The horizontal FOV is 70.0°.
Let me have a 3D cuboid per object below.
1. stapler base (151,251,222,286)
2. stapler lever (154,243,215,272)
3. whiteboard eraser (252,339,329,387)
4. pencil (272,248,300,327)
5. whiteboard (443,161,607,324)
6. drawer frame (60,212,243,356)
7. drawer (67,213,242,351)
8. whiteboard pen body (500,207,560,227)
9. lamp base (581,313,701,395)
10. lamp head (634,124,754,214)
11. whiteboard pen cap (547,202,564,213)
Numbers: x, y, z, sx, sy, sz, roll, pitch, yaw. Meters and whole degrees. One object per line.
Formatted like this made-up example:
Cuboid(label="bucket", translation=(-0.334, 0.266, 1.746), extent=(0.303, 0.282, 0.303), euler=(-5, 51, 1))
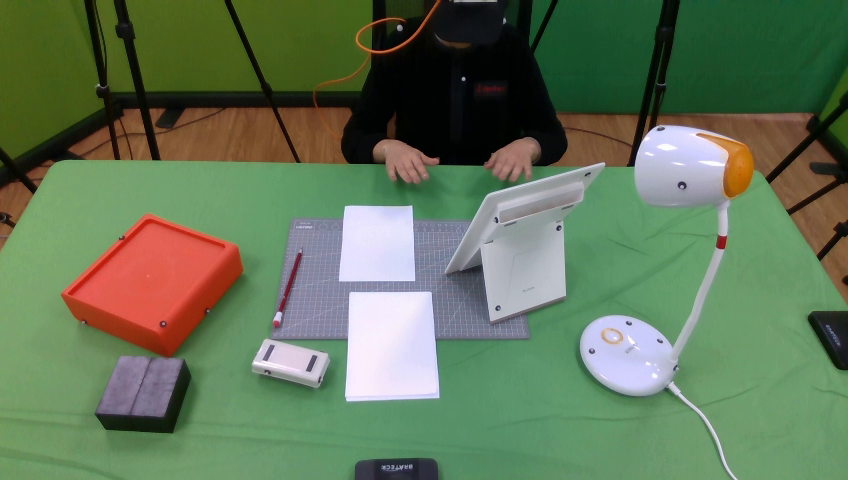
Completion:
Cuboid(label="stapler base", translation=(-0.432, 0.047, 1.103), extent=(0.130, 0.024, 0.041), euler=(17, 34, 13))
Cuboid(label="stapler lever", translation=(-0.430, 0.025, 1.088), extent=(0.118, 0.040, 0.027), euler=(16, 34, 13))
Cuboid(label="whiteboard eraser", translation=(-0.215, 0.199, 0.976), extent=(0.112, 0.042, 0.055), euler=(12, 45, 7))
Cuboid(label="pencil", translation=(-0.248, 0.081, 1.104), extent=(0.012, 0.012, 0.193), euler=(6, 44, 1))
Cuboid(label="whiteboard", translation=(0.185, 0.026, 1.028), extent=(0.217, 0.306, 0.143), euler=(-15, 68, -18))
Cuboid(label="drawer frame", translation=(-0.462, 0.070, 1.053), extent=(0.201, 0.083, 0.213), euler=(18, 48, 12))
Cuboid(label="drawer", translation=(-0.461, 0.068, 1.056), extent=(0.194, 0.073, 0.211), euler=(19, 48, 13))
Cuboid(label="whiteboard pen body", translation=(0.222, -0.051, 1.260), extent=(0.141, 0.017, 0.017), euler=(-15, 49, -16))
Cuboid(label="lamp base", translation=(0.361, 0.144, 0.973), extent=(0.178, 0.181, 0.160), euler=(34, 53, 23))
Cuboid(label="lamp head", translation=(0.351, -0.089, 0.775), extent=(0.112, 0.113, 0.122), euler=(-30, 30, -28))
Cuboid(label="whiteboard pen cap", translation=(0.277, -0.067, 1.275), extent=(0.033, 0.018, 0.018), euler=(-18, 50, -14))
